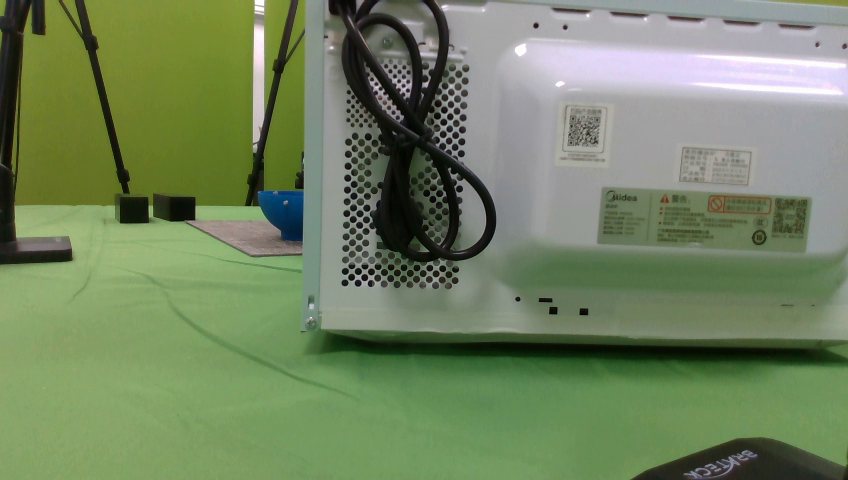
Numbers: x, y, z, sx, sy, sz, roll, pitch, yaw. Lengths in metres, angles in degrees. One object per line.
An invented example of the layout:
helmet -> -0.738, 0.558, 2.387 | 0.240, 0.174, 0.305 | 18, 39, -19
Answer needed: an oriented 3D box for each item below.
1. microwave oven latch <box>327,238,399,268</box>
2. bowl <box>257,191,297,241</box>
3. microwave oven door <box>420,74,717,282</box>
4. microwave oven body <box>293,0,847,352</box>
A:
microwave oven latch -> -0.069, 0.015, 0.694 | 0.079, 0.029, 0.030 | 3, 7, -3
bowl -> -0.206, -0.041, 1.027 | 0.151, 0.077, 0.151 | 3, 8, 0
microwave oven door -> 0.168, -0.086, 0.774 | 0.355, 0.243, 0.039 | 6, 9, 22
microwave oven body -> 0.122, -0.055, 0.550 | 0.442, 0.260, 0.325 | 3, 7, -5
